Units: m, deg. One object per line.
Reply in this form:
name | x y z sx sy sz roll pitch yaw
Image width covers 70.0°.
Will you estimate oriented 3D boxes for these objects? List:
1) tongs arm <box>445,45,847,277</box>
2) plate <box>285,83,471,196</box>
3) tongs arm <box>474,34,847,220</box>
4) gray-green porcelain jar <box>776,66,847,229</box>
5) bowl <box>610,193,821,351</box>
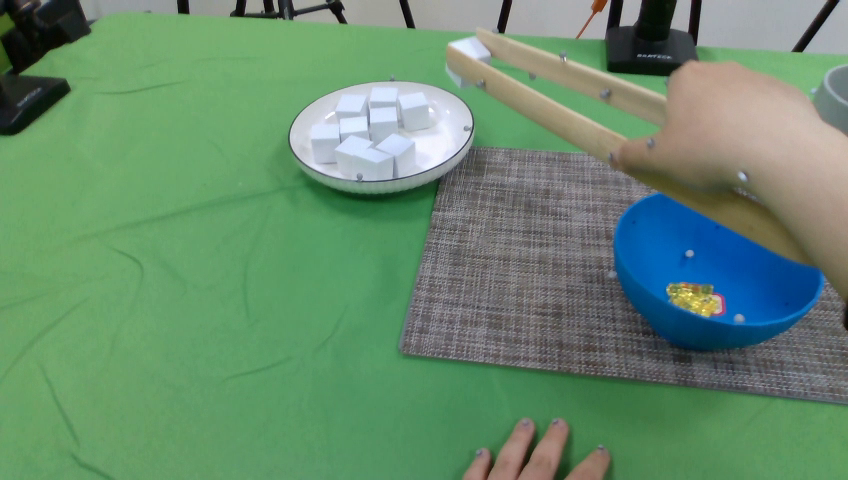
tongs arm | 0.124 -0.080 0.439 0.028 0.028 0.383 -24 41 -22
plate | -0.050 -0.112 0.687 0.209 0.038 0.207 -2 43 2
tongs arm | 0.144 -0.090 0.447 0.051 0.027 0.380 -30 43 -23
gray-green porcelain jar | 0.404 -0.082 0.572 0.106 0.127 0.105 -1 43 1
bowl | 0.220 0.036 0.486 0.151 0.077 0.150 -1 43 1
